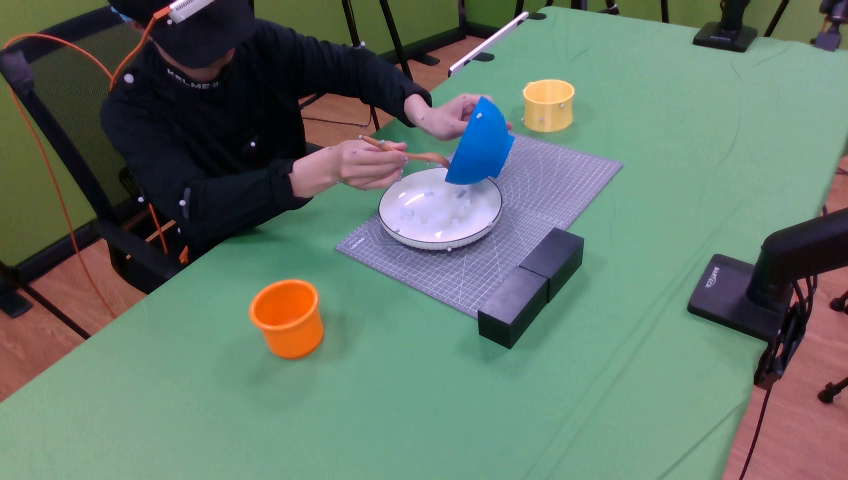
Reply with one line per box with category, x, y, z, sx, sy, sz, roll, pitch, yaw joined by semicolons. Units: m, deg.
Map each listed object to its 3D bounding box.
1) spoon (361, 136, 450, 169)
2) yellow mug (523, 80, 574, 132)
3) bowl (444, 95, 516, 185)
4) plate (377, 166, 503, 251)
spoon;-0.022;-0.131;0.925;0.195;0.021;0.041;5;27;-47
yellow mug;0.242;-0.278;1.224;0.100;0.064;0.129;-24;42;-18
bowl;0.097;-0.148;0.973;0.077;0.151;0.151;24;45;1
plate;0.027;-0.050;1.007;0.209;0.038;0.208;-4;41;4
